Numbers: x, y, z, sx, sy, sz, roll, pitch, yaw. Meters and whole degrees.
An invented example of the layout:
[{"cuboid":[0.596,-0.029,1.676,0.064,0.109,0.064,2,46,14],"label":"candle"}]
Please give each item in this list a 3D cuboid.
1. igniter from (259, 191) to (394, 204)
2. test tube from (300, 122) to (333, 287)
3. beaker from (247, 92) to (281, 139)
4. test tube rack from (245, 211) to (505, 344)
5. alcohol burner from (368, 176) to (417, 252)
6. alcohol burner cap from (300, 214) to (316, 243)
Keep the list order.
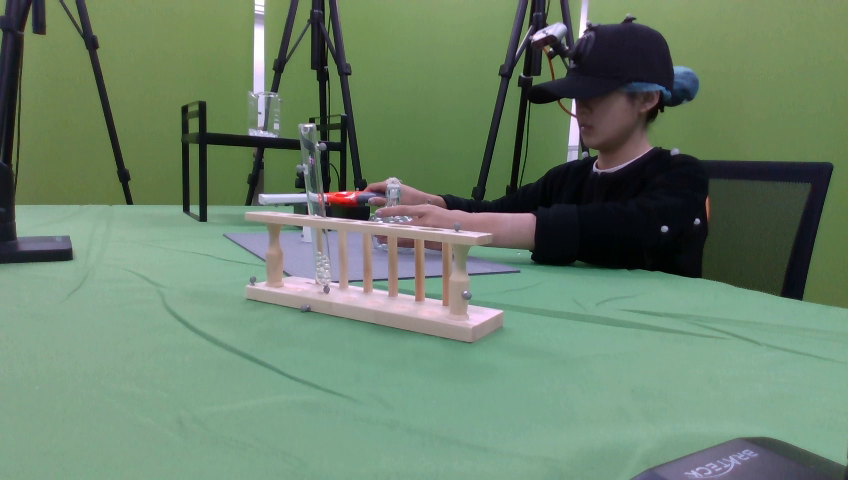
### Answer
[{"cuboid":[-0.193,-0.085,1.227,0.278,0.025,0.057,-3,15,-28],"label":"igniter"},{"cuboid":[-0.096,-0.030,0.543,0.017,0.150,0.017,-3,14,1],"label":"test tube"},{"cuboid":[-0.361,-0.280,1.359,0.074,0.100,0.084,4,8,8],"label":"beaker"},{"cuboid":[-0.049,0.025,0.547,0.241,0.085,0.067,7,8,29],"label":"test tube rack"},{"cuboid":[-0.049,-0.041,0.947,0.078,0.119,0.078,3,5,0],"label":"alcohol burner"},{"cuboid":[-0.186,-0.018,0.991,0.034,0.048,0.034,2,6,0],"label":"alcohol burner cap"}]
